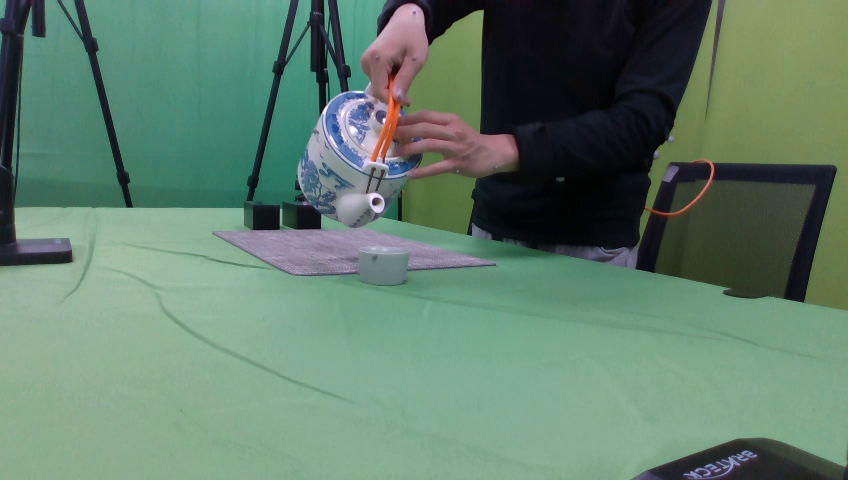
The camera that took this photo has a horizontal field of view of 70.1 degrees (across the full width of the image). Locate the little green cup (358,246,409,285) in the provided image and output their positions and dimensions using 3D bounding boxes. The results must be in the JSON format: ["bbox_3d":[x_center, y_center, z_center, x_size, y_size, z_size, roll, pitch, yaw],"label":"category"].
[{"bbox_3d":[-0.048,0.029,0.707,0.061,0.038,0.061,2,8,0],"label":"little green cup"}]

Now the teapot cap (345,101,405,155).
[{"bbox_3d":[-0.061,-0.148,0.785,0.085,0.085,0.043,-2,-24,-29],"label":"teapot cap"}]

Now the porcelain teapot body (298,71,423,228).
[{"bbox_3d":[-0.074,-0.103,0.801,0.146,0.205,0.225,10,-33,-24],"label":"porcelain teapot body"}]
